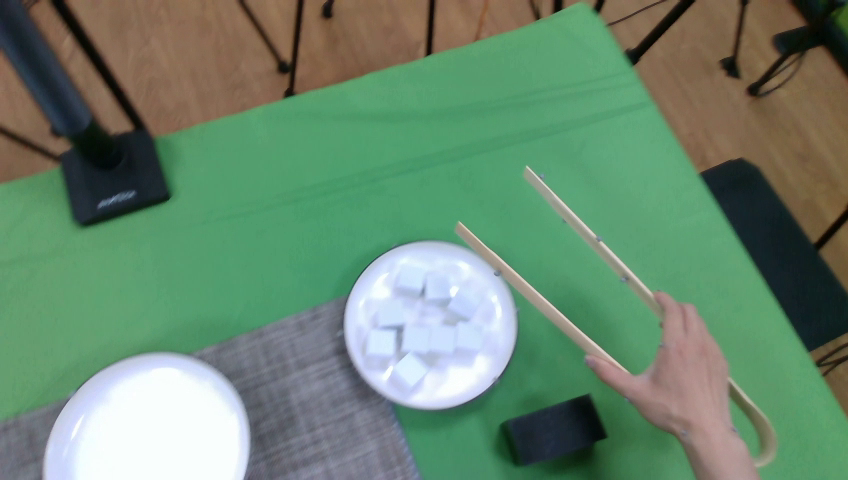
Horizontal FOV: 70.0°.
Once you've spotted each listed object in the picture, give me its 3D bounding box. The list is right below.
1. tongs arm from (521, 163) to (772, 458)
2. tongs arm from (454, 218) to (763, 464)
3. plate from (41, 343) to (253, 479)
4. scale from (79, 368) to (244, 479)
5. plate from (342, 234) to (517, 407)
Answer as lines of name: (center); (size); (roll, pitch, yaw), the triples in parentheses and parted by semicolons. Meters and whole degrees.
tongs arm: (0.224, 0.066, 0.651); (0.051, 0.026, 0.383); (-38, 77, -19)
tongs arm: (0.179, 0.103, 0.633); (0.386, 0.028, 0.028); (41, 66, 11)
plate: (-0.283, 0.213, 0.634); (0.209, 0.038, 0.207); (1, 70, -3)
scale: (-0.278, 0.252, 0.656); (0.149, 0.032, 0.199); (-19, 72, -10)
plate: (0.007, 0.096, 0.729); (0.208, 0.039, 0.206); (1, 70, -3)
